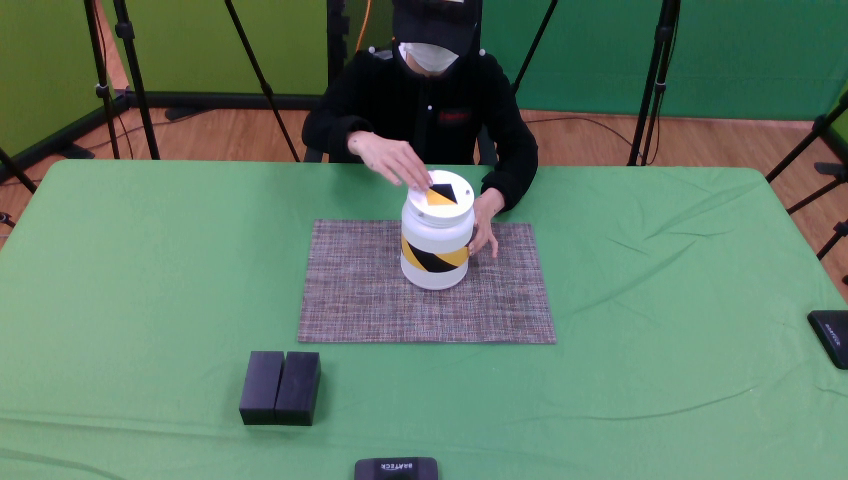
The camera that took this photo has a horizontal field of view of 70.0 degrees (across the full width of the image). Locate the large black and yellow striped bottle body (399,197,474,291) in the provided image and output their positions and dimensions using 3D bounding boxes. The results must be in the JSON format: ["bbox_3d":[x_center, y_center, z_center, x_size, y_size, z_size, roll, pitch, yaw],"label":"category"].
[{"bbox_3d":[0.021,-0.012,1.094,0.131,0.185,0.130,2,46,-2],"label":"large black and yellow striped bottle body"}]

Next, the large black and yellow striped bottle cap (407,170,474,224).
[{"bbox_3d":[0.028,-0.074,1.030,0.115,0.019,0.114,3,49,-3],"label":"large black and yellow striped bottle cap"}]
